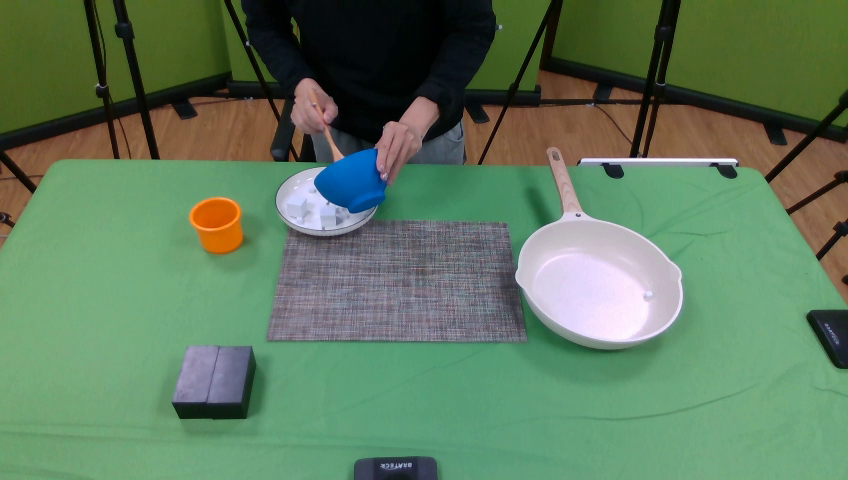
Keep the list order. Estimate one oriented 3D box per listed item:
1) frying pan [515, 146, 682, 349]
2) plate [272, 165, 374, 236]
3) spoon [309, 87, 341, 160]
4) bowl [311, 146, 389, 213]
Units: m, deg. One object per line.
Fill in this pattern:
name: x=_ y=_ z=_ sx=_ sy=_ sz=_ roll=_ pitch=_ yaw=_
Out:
frying pan: x=0.303 y=-0.004 z=1.168 sx=0.307 sy=0.103 sz=0.484 roll=-2 pitch=55 yaw=-7
plate: x=-0.204 y=-0.076 z=1.240 sx=0.208 sy=0.039 sz=0.206 roll=3 pitch=44 yaw=-2
spoon: x=-0.176 y=-0.188 z=1.120 sx=0.041 sy=0.021 sz=0.194 roll=-24 pitch=94 yaw=-22
bowl: x=-0.123 y=-0.101 z=1.117 sx=0.151 sy=0.151 sz=0.076 roll=-21 pitch=80 yaw=-23
